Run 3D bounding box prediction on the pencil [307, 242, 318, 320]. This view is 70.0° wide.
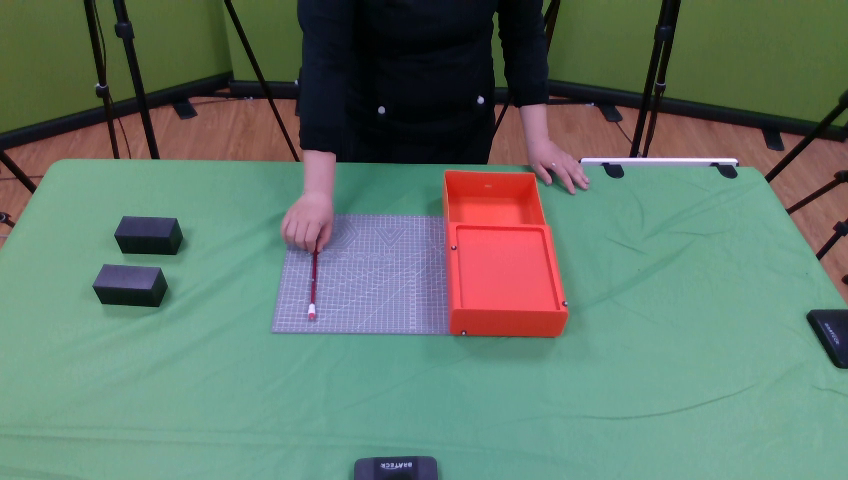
[{"bbox_3d":[-0.204,0.071,1.118,0.012,0.012,0.192,-1,44,-5],"label":"pencil"}]

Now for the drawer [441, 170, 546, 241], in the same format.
[{"bbox_3d":[0.137,-0.048,1.214,0.195,0.073,0.210,2,44,-4],"label":"drawer"}]

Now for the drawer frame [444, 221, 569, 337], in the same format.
[{"bbox_3d":[0.141,0.067,1.097,0.202,0.083,0.212,2,46,-4],"label":"drawer frame"}]
